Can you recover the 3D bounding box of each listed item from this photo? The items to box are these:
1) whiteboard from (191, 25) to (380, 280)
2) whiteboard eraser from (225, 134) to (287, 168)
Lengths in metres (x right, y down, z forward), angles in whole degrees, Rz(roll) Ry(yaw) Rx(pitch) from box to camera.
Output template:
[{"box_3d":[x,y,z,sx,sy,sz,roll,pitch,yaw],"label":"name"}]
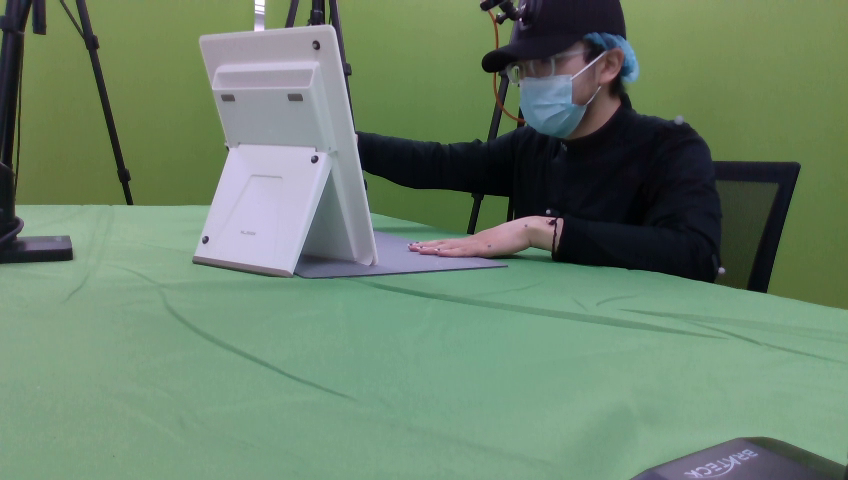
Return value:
[{"box_3d":[-0.205,-0.085,0.734,0.216,0.305,0.144,7,30,30],"label":"whiteboard"},{"box_3d":[-0.328,-0.172,1.181,0.055,0.042,0.113,28,7,38],"label":"whiteboard eraser"}]
